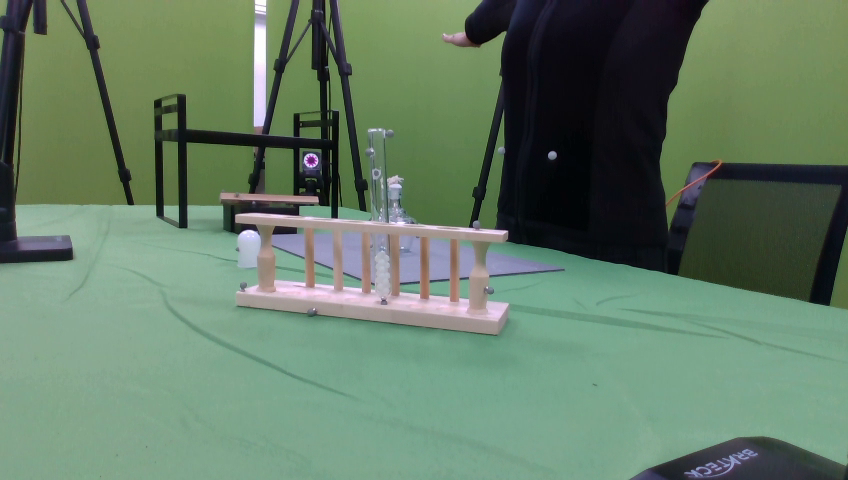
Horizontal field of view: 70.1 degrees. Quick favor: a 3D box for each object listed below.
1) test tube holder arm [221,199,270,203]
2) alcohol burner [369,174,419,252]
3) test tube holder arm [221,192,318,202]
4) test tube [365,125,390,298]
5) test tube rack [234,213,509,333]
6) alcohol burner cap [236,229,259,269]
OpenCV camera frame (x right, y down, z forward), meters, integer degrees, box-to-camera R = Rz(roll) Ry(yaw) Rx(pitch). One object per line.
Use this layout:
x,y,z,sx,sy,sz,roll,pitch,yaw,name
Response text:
-0.323,-0.074,1.097,0.088,0.015,0.010,-2,-24,-28,test tube holder arm
-0.047,-0.042,0.922,0.078,0.119,0.078,1,10,0,alcohol burner
-0.281,-0.078,1.114,0.179,0.015,0.013,-2,-24,-29,test tube holder arm
-0.040,-0.023,0.523,0.017,0.150,0.017,-2,8,1,test tube
-0.047,0.023,0.547,0.242,0.085,0.067,4,8,15,test tube rack
-0.220,0.010,0.759,0.034,0.048,0.034,0,12,0,alcohol burner cap
